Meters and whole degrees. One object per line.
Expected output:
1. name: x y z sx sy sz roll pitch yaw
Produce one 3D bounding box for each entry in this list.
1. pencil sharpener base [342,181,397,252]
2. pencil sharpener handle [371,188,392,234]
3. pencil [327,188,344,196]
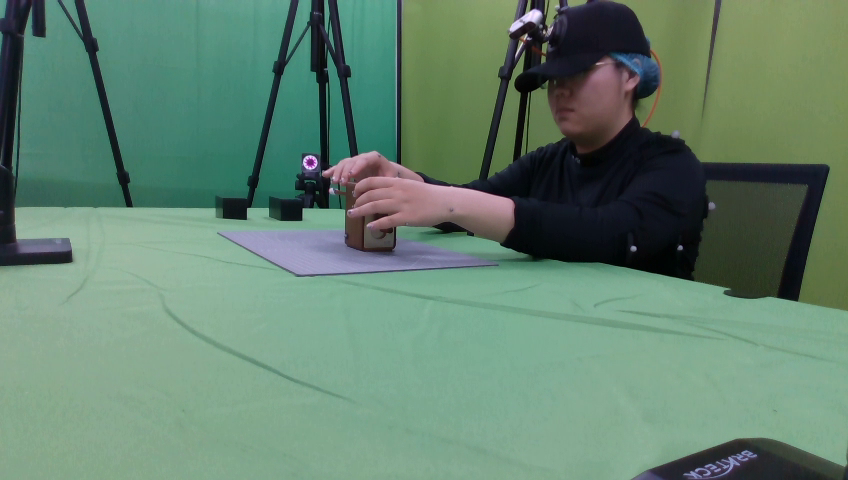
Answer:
1. pencil sharpener base: -0.086 -0.038 0.958 0.062 0.107 0.076 -2 9 -33
2. pencil sharpener handle: -0.059 -0.044 0.913 0.036 0.067 0.030 4 6 -33
3. pencil: -0.124 -0.077 1.023 0.012 0.012 0.193 -1 9 -31
